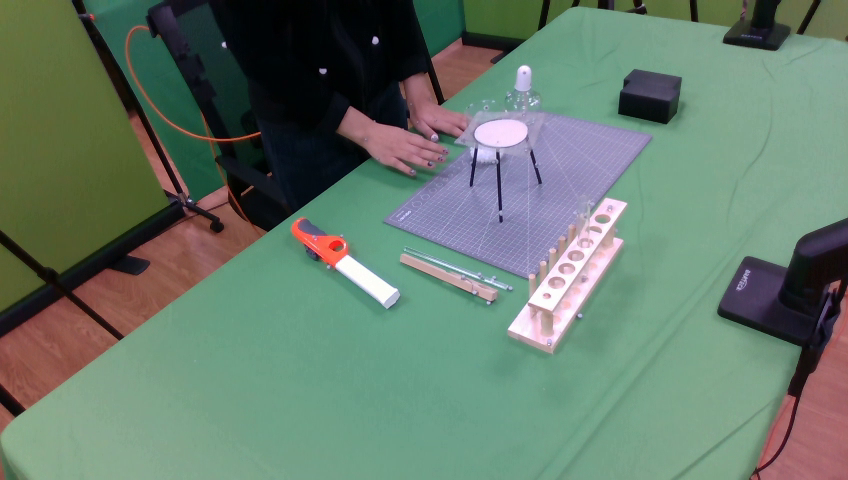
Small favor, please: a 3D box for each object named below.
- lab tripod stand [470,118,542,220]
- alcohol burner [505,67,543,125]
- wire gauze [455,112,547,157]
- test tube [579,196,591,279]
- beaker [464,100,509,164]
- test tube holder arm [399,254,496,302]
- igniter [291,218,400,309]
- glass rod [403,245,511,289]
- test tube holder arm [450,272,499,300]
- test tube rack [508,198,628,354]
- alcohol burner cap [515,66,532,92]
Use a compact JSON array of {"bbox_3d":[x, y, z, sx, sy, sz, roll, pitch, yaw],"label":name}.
[{"bbox_3d":[0.135,-0.128,1.019,0.148,0.132,0.147,-5,38,5],"label":"lab tripod stand"},{"bbox_3d":[0.201,-0.293,1.216,0.078,0.119,0.077,-4,41,4],"label":"alcohol burner"},{"bbox_3d":[0.125,-0.176,0.973,0.124,0.011,0.121,10,42,22],"label":"wire gauze"},{"bbox_3d":[0.217,0.000,0.816,0.017,0.151,0.017,-7,44,8],"label":"test tube"},{"bbox_3d":[0.120,-0.200,1.134,0.083,0.101,0.074,5,43,16],"label":"beaker"},{"bbox_3d":[0.032,0.054,0.914,0.177,0.015,0.013,21,16,32],"label":"test tube holder arm"},{"bbox_3d":[-0.136,0.031,0.970,0.057,0.025,0.274,-41,49,-19],"label":"igniter"},{"bbox_3d":[0.047,0.040,0.939,0.198,0.008,0.008,21,49,30],"label":"glass rod"},{"bbox_3d":[0.071,0.068,0.895,0.087,0.015,0.010,21,16,32],"label":"test tube holder arm"},{"bbox_3d":[0.206,0.039,0.850,0.066,0.085,0.243,20,48,31],"label":"test tube rack"},{"bbox_3d":[0.198,-0.320,1.192,0.034,0.048,0.033,0,47,1],"label":"alcohol burner cap"}]
